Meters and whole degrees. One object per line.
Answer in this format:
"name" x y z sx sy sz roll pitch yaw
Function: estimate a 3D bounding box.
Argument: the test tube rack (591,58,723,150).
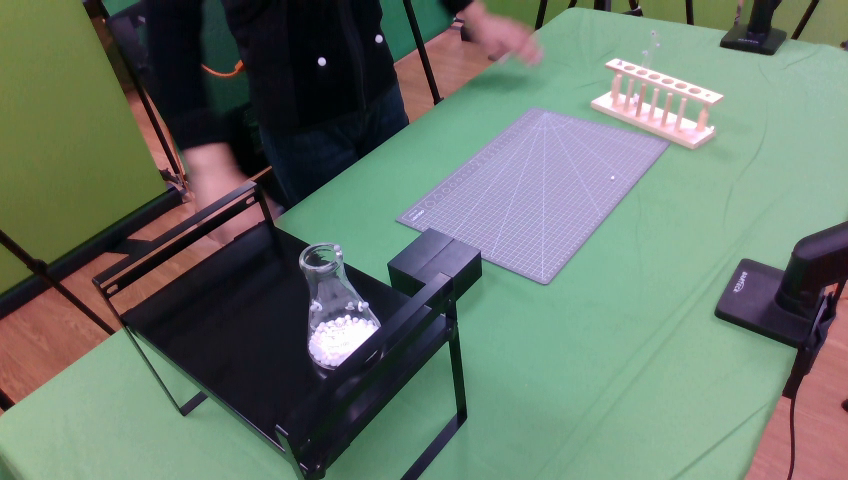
"test tube rack" 0.442 -0.269 1.171 0.067 0.085 0.240 -30 46 -24

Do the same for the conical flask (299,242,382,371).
"conical flask" -0.085 0.059 0.565 0.075 0.122 0.075 -5 41 4

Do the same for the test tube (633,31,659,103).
"test tube" 0.427 -0.331 1.169 0.017 0.151 0.017 0 47 1
